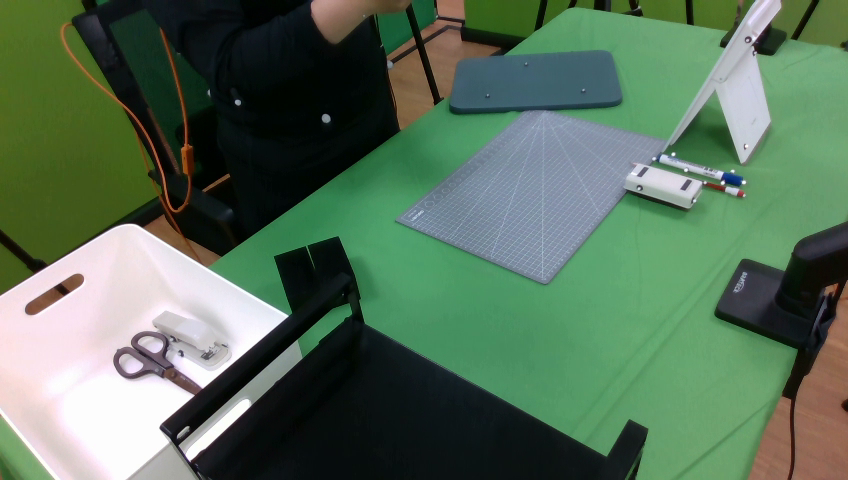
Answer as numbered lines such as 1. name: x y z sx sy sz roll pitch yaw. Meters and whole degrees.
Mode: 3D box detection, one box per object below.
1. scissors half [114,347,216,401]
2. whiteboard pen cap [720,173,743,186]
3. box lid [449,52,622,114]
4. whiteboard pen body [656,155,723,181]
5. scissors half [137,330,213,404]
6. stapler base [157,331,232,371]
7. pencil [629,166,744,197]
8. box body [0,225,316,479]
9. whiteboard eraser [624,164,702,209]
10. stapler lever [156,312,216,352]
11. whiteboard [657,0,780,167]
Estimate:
1. scissors half: -0.348 0.185 0.811 0.174 0.013 0.040 14 53 19
2. whiteboard pen cap: 0.519 -0.103 1.020 0.033 0.018 0.018 23 49 30
3. box lid: 0.249 -0.358 1.370 0.371 0.015 0.262 -1 40 9
4. whiteboard pen body: 0.475 -0.123 1.052 0.139 0.017 0.017 24 50 32
5. scissors half: -0.336 0.172 0.822 0.174 0.013 0.040 34 56 31
6. stapler base: -0.326 0.142 0.849 0.129 0.024 0.041 18 43 32
7. pencil: 0.447 -0.103 1.038 0.192 0.012 0.012 21 48 29
8. box body: -0.339 0.162 0.728 0.361 0.161 0.255 23 48 31
9. whiteboard eraser: 0.396 -0.087 1.003 0.112 0.042 0.056 22 47 31
10. stapler lever: -0.331 0.122 0.835 0.117 0.040 0.027 17 43 33
11. whiteboard: 0.571 -0.272 1.038 0.143 0.306 0.218 36 54 17
